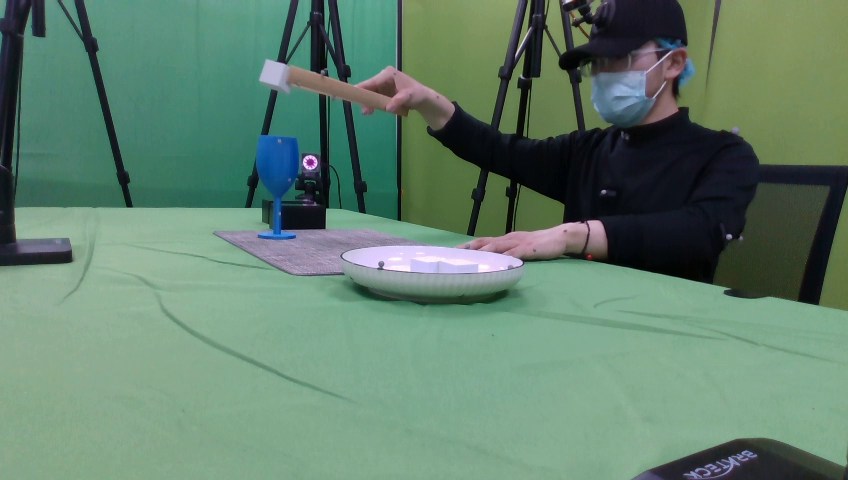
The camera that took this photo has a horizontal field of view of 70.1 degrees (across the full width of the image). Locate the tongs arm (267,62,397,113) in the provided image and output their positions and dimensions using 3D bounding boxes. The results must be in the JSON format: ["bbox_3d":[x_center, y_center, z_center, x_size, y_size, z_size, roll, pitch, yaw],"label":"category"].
[{"bbox_3d":[-0.147,-0.266,1.078,0.028,0.028,0.389,12,9,24],"label":"tongs arm"}]

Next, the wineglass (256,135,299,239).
[{"bbox_3d":[-0.252,-0.091,1.036,0.074,0.172,0.073,3,7,0],"label":"wineglass"}]

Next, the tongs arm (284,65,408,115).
[{"bbox_3d":[-0.126,-0.260,1.068,0.050,0.026,0.386,17,11,28],"label":"tongs arm"}]

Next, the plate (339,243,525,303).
[{"bbox_3d":[0.008,0.035,0.682,0.209,0.038,0.209,3,7,0],"label":"plate"}]
